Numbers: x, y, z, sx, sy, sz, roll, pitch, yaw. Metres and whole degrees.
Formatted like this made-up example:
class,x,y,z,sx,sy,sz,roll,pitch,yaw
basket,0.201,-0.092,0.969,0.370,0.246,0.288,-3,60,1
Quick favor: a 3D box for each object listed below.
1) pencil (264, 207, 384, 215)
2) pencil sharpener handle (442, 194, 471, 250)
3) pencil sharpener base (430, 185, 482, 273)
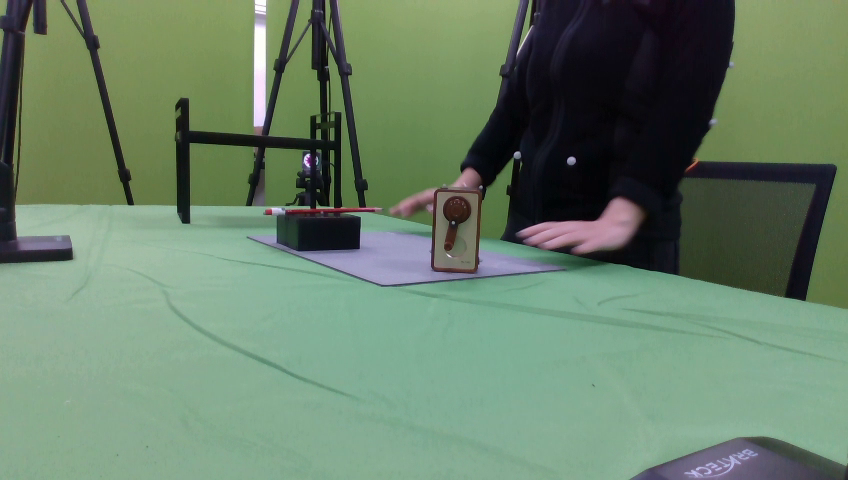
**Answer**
class,x,y,z,sx,sy,sz,roll,pitch,yaw
pencil,-0.152,-0.047,0.946,0.195,0.012,0.012,-3,9,-27
pencil sharpener handle,0.036,-0.021,0.731,0.036,0.067,0.030,11,8,3
pencil sharpener base,0.042,-0.015,0.783,0.061,0.107,0.076,3,8,4
